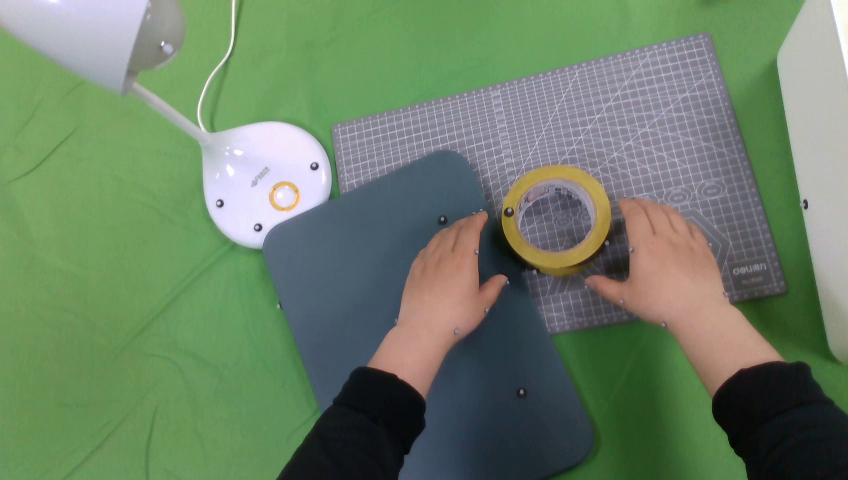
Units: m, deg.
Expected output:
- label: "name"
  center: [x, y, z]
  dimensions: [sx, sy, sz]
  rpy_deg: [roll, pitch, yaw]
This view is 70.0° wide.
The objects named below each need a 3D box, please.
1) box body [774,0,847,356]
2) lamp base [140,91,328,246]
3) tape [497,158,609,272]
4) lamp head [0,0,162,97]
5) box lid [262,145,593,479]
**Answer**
- label: "box body"
  center: [0.482, -0.079, 0.528]
  dimensions: [0.254, 0.161, 0.362]
  rpy_deg: [-6, 77, 11]
- label: "lamp base"
  center: [-0.220, -0.093, 0.668]
  dimensions: [0.178, 0.181, 0.160]
  rpy_deg: [28, 85, 19]
- label: "tape"
  center: [0.137, -0.027, 0.644]
  dimensions: [0.116, 0.053, 0.116]
  rpy_deg: [-2, 78, 11]
- label: "lamp head"
  center: [-0.231, -0.163, 0.377]
  dimensions: [0.123, 0.112, 0.112]
  rpy_deg: [19, 81, -19]
- label: "box lid"
  center: [-0.008, 0.096, 0.665]
  dimensions: [0.263, 0.015, 0.369]
  rpy_deg: [-25, 77, 3]
